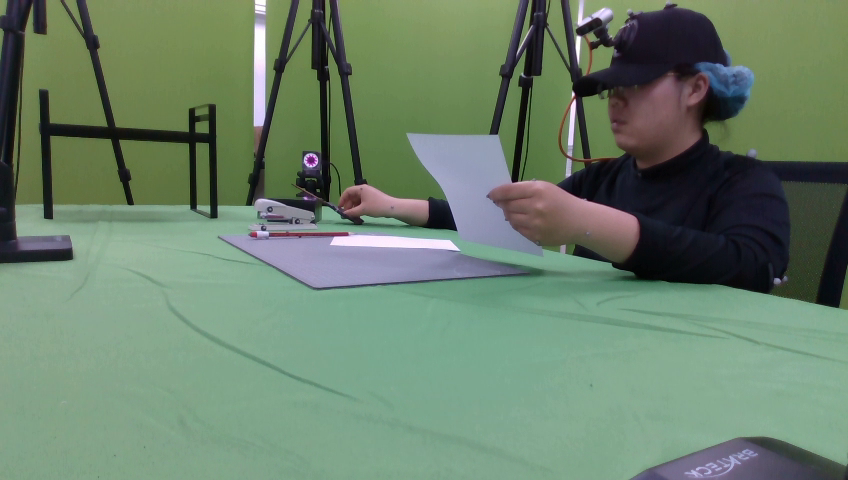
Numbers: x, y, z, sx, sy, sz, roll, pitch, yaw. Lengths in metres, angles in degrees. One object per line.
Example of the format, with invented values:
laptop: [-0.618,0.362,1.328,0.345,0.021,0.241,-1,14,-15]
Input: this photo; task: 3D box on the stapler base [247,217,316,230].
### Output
stapler base: [-0.276,-0.033,1.172,0.131,0.024,0.041,0,10,-37]

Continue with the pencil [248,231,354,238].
pencil: [-0.206,-0.009,1.039,0.195,0.012,0.012,0,8,-36]

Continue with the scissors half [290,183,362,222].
scissors half: [-0.216,-0.082,1.331,0.176,0.013,0.040,28,8,-15]

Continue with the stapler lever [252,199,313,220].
stapler lever: [-0.273,-0.058,1.170,0.119,0.040,0.026,0,10,-37]

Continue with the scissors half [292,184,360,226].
scissors half: [-0.217,-0.078,1.311,0.175,0.013,0.040,31,13,5]
